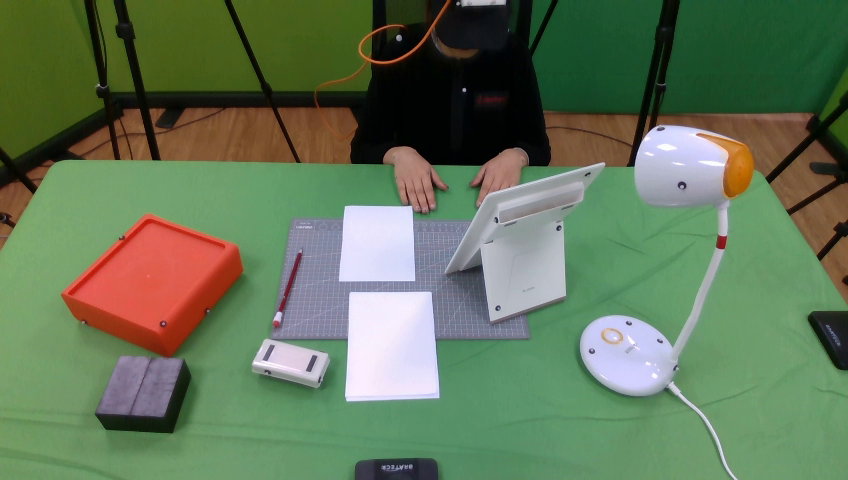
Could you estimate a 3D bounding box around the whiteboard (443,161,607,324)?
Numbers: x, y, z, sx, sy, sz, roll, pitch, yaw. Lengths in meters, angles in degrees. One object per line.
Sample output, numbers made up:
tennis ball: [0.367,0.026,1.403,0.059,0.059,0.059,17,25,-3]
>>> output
whiteboard: [0.185,0.026,1.028,0.217,0.306,0.143,-15,68,-18]

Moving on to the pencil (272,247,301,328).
pencil: [-0.248,0.081,1.104,0.012,0.012,0.193,6,44,1]

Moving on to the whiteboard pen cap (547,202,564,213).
whiteboard pen cap: [0.277,-0.066,1.275,0.033,0.018,0.018,-18,50,-15]

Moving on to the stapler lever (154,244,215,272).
stapler lever: [-0.430,0.025,1.088,0.118,0.040,0.027,16,34,13]

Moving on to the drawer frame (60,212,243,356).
drawer frame: [-0.462,0.070,1.053,0.201,0.083,0.213,18,48,12]

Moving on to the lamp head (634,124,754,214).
lamp head: [0.351,-0.089,0.775,0.112,0.113,0.122,-30,30,-28]

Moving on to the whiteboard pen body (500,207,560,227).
whiteboard pen body: [0.222,-0.051,1.260,0.141,0.017,0.017,-15,49,-16]

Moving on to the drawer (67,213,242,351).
drawer: [-0.461,0.068,1.057,0.194,0.073,0.211,19,48,13]

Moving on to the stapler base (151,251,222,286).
stapler base: [-0.432,0.047,1.103,0.130,0.024,0.041,17,34,13]

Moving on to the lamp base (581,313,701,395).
lamp base: [0.361,0.144,0.973,0.178,0.181,0.160,34,53,23]

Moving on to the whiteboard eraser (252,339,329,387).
whiteboard eraser: [-0.215,0.199,0.976,0.112,0.042,0.055,12,45,7]
